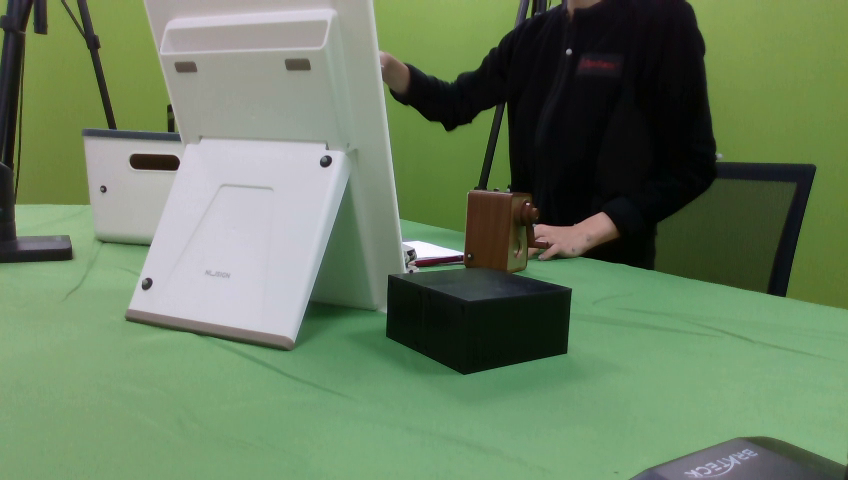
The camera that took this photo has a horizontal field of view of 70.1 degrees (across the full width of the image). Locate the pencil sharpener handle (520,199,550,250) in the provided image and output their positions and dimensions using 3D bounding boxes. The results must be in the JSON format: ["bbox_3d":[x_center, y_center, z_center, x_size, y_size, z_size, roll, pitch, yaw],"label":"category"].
[{"bbox_3d":[0.147,-0.019,0.785,0.030,0.068,0.036,8,26,36],"label":"pencil sharpener handle"}]

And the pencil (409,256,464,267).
[{"bbox_3d":[0.041,0.028,0.848,0.012,0.012,0.195,10,10,43],"label":"pencil"}]

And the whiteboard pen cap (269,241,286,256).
[{"bbox_3d":[-0.202,0.012,0.836,0.018,0.018,0.033,2,9,-1],"label":"whiteboard pen cap"}]

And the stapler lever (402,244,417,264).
[{"bbox_3d":[-0.066,0.003,0.755,0.117,0.040,0.027,9,13,23],"label":"stapler lever"}]

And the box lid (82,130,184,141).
[{"bbox_3d":[-0.337,-0.161,1.011,0.263,0.015,0.372,4,7,11],"label":"box lid"}]

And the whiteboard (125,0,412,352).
[{"bbox_3d":[-0.151,-0.049,0.472,0.216,0.305,0.144,6,27,24],"label":"whiteboard"}]

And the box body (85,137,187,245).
[{"bbox_3d":[-0.340,-0.088,1.022,0.254,0.160,0.364,4,7,11],"label":"box body"}]

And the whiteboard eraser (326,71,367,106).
[{"bbox_3d":[-0.140,-0.274,1.104,0.055,0.042,0.113,10,-1,3],"label":"whiteboard eraser"}]

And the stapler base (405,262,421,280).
[{"bbox_3d":[-0.069,0.027,0.759,0.130,0.024,0.041,9,13,23],"label":"stapler base"}]

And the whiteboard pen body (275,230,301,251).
[{"bbox_3d":[-0.203,0.002,0.894,0.017,0.017,0.140,2,9,-1],"label":"whiteboard pen body"}]

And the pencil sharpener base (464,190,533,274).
[{"bbox_3d":[0.102,-0.012,0.812,0.076,0.107,0.061,8,9,36],"label":"pencil sharpener base"}]
